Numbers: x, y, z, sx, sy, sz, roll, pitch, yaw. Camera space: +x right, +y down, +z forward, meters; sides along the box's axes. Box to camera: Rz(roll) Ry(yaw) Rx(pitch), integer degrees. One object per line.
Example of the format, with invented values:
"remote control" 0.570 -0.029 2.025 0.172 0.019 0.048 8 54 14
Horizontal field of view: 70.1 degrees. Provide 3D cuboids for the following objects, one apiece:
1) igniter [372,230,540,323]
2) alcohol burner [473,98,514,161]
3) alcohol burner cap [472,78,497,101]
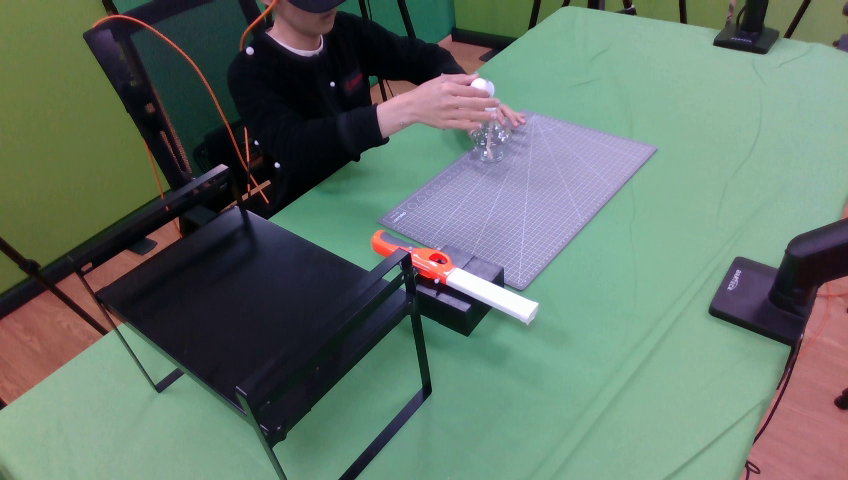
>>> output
"igniter" 0.032 0.045 0.842 0.274 0.025 0.057 24 47 28
"alcohol burner" 0.128 -0.208 1.124 0.078 0.119 0.077 -5 38 5
"alcohol burner cap" 0.096 -0.248 0.990 0.033 0.034 0.048 16 11 25
